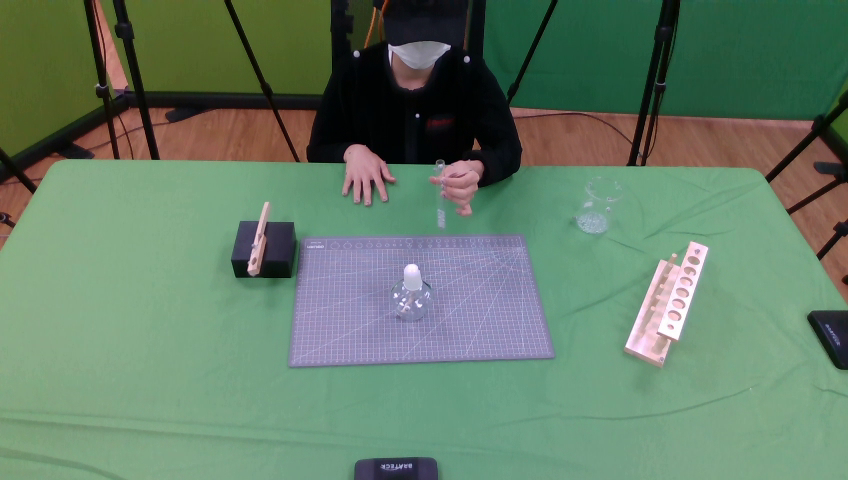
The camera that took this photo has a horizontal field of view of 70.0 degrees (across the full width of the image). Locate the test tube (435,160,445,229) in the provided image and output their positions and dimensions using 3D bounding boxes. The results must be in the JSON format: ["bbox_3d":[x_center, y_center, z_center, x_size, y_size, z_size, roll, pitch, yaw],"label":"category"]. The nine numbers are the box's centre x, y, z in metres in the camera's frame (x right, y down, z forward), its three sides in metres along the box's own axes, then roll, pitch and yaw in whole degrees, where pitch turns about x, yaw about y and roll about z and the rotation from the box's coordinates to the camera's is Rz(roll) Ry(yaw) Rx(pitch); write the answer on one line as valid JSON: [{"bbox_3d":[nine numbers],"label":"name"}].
[{"bbox_3d":[0.029,-0.079,1.088,0.017,0.151,0.017,-1,42,1],"label":"test tube"}]

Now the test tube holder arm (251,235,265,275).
[{"bbox_3d":[-0.297,0.025,1.085,0.010,0.015,0.087,-5,46,2],"label":"test tube holder arm"}]

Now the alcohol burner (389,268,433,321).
[{"bbox_3d":[-0.022,0.085,1.046,0.078,0.119,0.077,2,48,-3],"label":"alcohol burner"}]

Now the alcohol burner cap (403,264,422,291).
[{"bbox_3d":[-0.021,0.060,1.021,0.034,0.048,0.033,-2,46,2],"label":"alcohol burner cap"}]

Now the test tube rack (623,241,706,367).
[{"bbox_3d":[0.435,0.104,1.089,0.066,0.085,0.242,24,49,19],"label":"test tube rack"}]

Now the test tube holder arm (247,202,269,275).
[{"bbox_3d":[-0.304,-0.006,1.116,0.013,0.015,0.177,-6,46,2],"label":"test tube holder arm"}]

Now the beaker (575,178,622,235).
[{"bbox_3d":[0.356,-0.068,1.240,0.084,0.101,0.073,-18,50,-21],"label":"beaker"}]
